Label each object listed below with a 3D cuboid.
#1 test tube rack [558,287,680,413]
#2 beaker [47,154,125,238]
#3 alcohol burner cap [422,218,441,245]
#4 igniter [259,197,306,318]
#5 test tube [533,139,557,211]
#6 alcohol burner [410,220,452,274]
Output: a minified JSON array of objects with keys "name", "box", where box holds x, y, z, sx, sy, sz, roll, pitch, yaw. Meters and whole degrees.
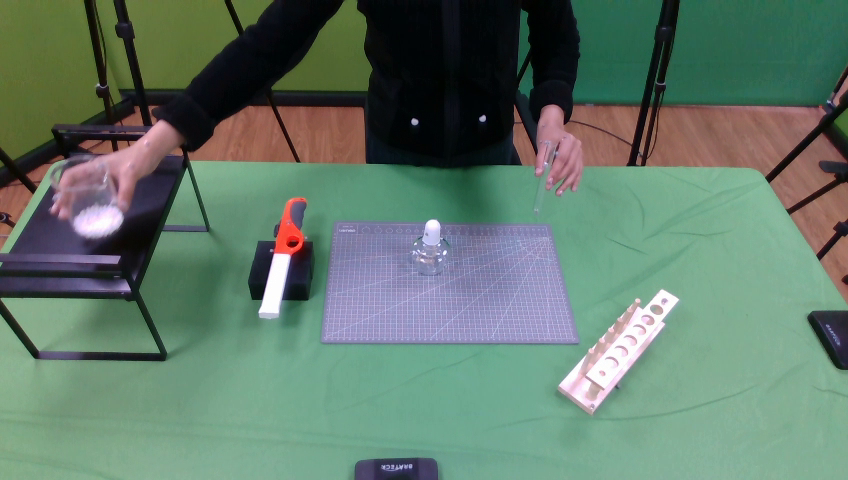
[{"name":"test tube rack","box":[0.326,0.170,1.009,0.066,0.085,0.242,36,54,26]},{"name":"beaker","box":[-0.467,-0.058,0.853,0.084,0.101,0.074,21,47,15]},{"name":"alcohol burner cap","box":[0.015,-0.018,1.094,0.034,0.048,0.033,3,43,-3]},{"name":"igniter","box":[-0.252,0.021,1.088,0.057,0.025,0.275,4,48,-1]},{"name":"test tube","box":[0.205,-0.107,1.034,0.017,0.151,0.017,2,44,-2]},{"name":"alcohol burner","box":[0.013,0.008,1.120,0.078,0.120,0.077,1,48,0]}]
